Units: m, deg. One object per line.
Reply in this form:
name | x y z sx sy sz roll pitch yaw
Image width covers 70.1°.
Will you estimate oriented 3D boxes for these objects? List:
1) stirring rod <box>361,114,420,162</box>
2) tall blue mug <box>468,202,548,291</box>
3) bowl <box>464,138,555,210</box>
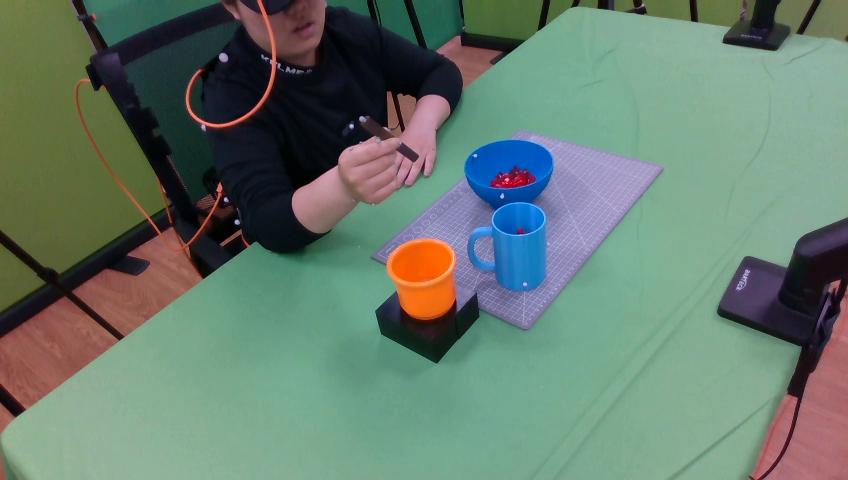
stirring rod | -0.039 -0.126 0.766 0.006 0.177 0.014 38 96 19
tall blue mug | 0.125 0.015 0.869 0.107 0.108 0.077 -21 42 -13
bowl | 0.145 -0.100 1.025 0.151 0.077 0.150 -5 40 5
